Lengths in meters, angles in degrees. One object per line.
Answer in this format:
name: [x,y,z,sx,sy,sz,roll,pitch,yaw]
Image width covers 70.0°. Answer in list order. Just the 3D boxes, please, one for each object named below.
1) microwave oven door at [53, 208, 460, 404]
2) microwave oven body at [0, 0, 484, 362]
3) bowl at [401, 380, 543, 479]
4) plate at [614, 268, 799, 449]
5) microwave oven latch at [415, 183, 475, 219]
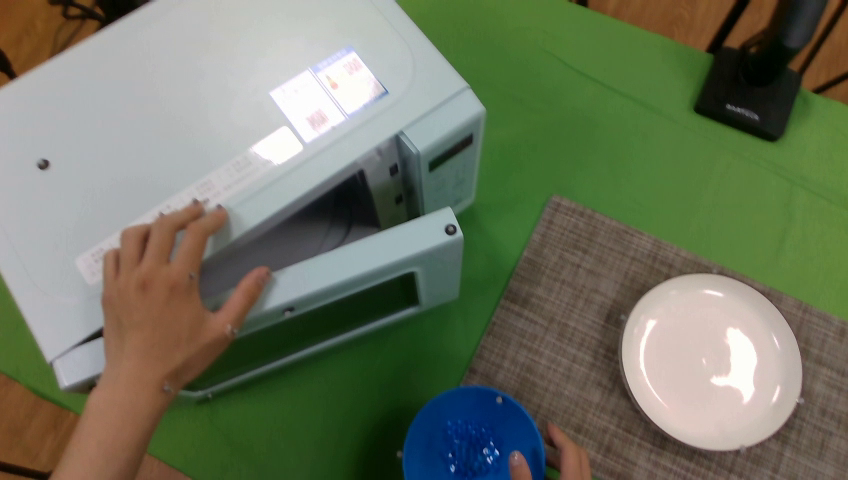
microwave oven door: [-0.133,0.078,0.618,0.356,0.245,0.039,-21,72,-5]
microwave oven body: [-0.207,-0.092,0.678,0.441,0.261,0.324,-36,76,-9]
bowl: [0.053,0.235,0.672,0.151,0.077,0.150,-1,72,4]
plate: [0.325,0.137,0.711,0.208,0.039,0.206,0,73,1]
microwave oven latch: [0.027,-0.052,0.761,0.079,0.029,0.030,-34,75,-8]
